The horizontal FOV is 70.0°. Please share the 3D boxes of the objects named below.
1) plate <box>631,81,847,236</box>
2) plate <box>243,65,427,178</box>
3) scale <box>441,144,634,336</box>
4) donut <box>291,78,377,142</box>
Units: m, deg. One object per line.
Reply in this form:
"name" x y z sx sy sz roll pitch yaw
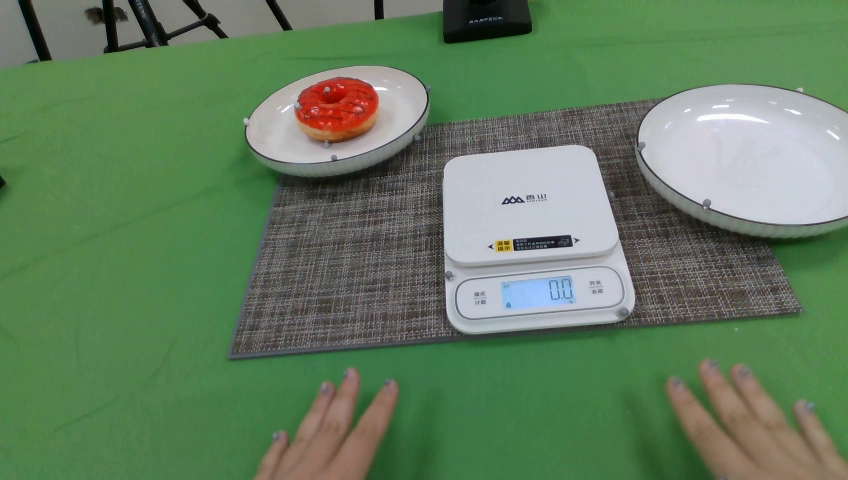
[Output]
"plate" 0.295 -0.074 0.554 0.207 0.039 0.205 -4 45 4
"plate" -0.098 -0.132 0.688 0.209 0.038 0.207 -6 43 6
"scale" 0.090 -0.008 0.531 0.148 0.032 0.199 -6 45 6
"donut" -0.102 -0.147 0.688 0.099 0.049 0.098 -5 43 5
